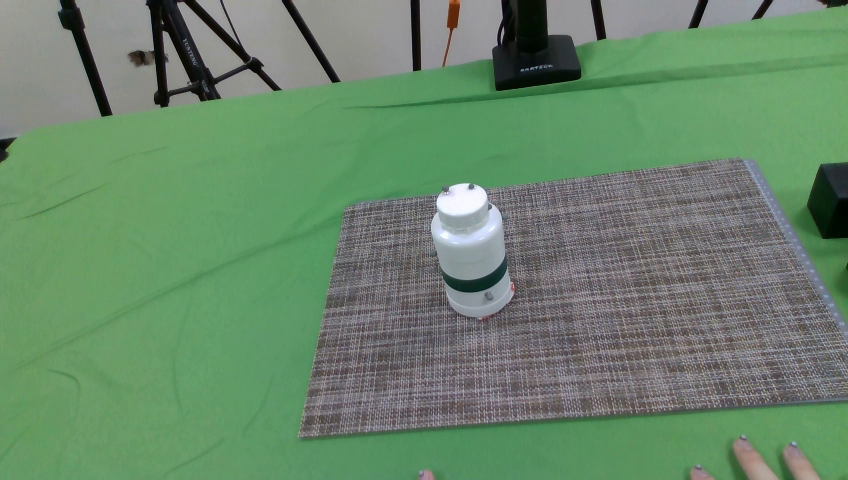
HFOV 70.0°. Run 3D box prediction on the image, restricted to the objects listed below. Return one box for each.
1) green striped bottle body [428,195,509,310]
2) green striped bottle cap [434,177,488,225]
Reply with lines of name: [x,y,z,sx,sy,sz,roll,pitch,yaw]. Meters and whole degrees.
green striped bottle body: [0.040,0.003,0.545,0.063,0.120,0.062,-7,43,7]
green striped bottle cap: [0.031,-0.033,0.509,0.044,0.020,0.044,-8,43,8]
